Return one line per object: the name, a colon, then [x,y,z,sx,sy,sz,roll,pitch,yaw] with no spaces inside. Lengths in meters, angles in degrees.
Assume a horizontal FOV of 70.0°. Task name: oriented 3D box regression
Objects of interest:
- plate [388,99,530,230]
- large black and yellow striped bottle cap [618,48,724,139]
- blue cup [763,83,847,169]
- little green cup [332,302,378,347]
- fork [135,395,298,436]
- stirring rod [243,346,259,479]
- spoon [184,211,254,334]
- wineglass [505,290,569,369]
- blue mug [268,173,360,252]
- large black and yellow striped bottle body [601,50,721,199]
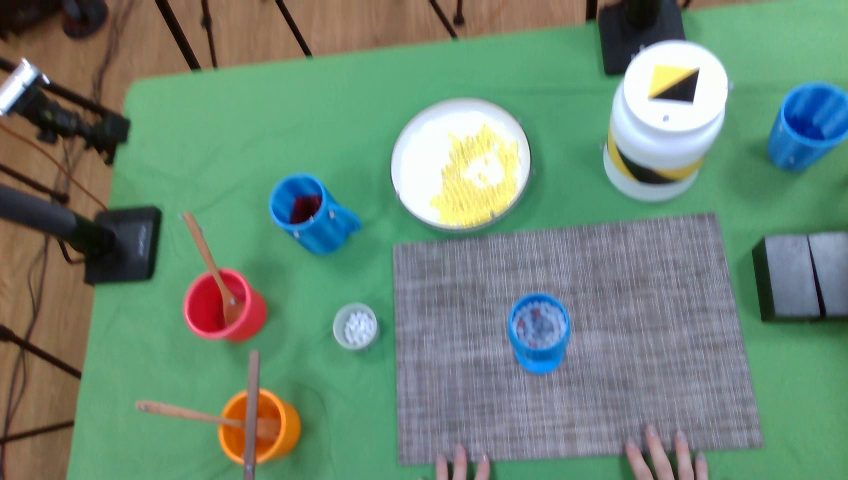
plate: [0.051,-0.109,0.897,0.209,0.038,0.208,-3,71,9]
large black and yellow striped bottle cap: [0.287,-0.173,0.706,0.115,0.019,0.114,-4,69,10]
blue cup: [0.492,-0.141,0.793,0.092,0.101,0.092,-4,71,11]
little green cup: [-0.094,0.120,0.844,0.061,0.039,0.061,-3,72,10]
fork: [-0.261,0.225,0.779,0.209,0.018,0.028,21,78,-29]
stirring rod: [-0.220,0.223,0.769,0.014,0.006,0.175,-6,70,9]
spoon: [-0.288,0.048,0.847,0.041,0.021,0.195,-18,113,2]
wineglass: [0.136,0.112,0.729,0.073,0.173,0.073,-3,70,10]
blue mug: [-0.149,-0.035,0.871,0.116,0.106,0.082,7,73,13]
large black and yellow striped bottle body: [0.303,-0.145,0.785,0.130,0.185,0.130,-3,71,10]
